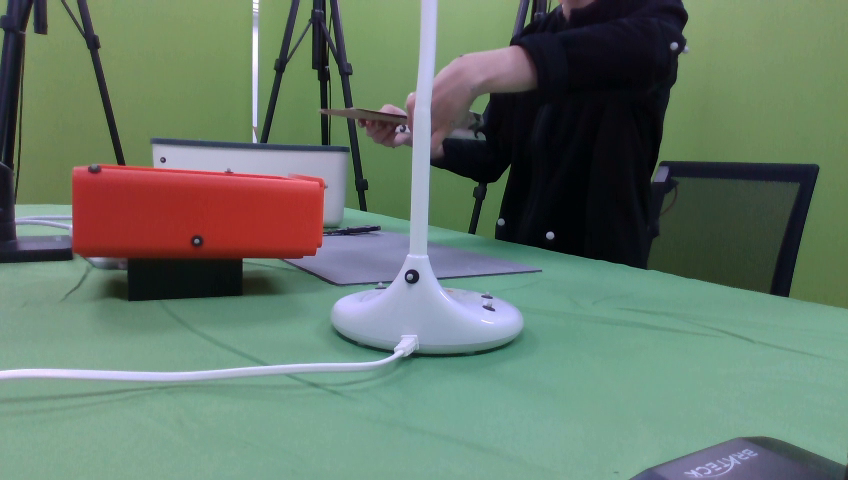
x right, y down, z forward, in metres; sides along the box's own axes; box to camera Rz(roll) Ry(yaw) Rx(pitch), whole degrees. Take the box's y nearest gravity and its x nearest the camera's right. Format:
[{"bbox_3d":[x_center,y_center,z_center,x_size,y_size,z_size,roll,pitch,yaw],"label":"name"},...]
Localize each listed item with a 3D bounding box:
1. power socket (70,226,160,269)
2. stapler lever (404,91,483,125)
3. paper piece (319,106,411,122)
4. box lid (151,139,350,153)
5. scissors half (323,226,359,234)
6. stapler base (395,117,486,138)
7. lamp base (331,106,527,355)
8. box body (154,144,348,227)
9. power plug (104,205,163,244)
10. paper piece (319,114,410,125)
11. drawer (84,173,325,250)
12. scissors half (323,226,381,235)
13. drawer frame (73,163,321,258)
[{"bbox_3d":[-0.409,0.004,0.793,0.072,0.032,0.225,-2,8,-38],"label":"power socket"},{"bbox_3d":[0.025,-0.177,0.811,0.117,0.040,0.027,11,10,34],"label":"stapler lever"},{"bbox_3d":[-0.069,-0.188,0.905,0.139,0.008,0.135,3,9,-34],"label":"paper piece"},{"bbox_3d":[-0.352,-0.191,1.256,0.373,0.015,0.262,0,8,-18],"label":"box lid"},{"bbox_3d":[-0.166,-0.015,1.094,0.040,0.013,0.176,3,7,40],"label":"scissors half"},{"bbox_3d":[0.020,-0.153,0.815,0.130,0.024,0.041,12,10,34],"label":"stapler base"},{"bbox_3d":[0.006,-0.012,0.478,0.161,0.180,0.179,2,10,2],"label":"lamp base"},{"bbox_3d":[-0.357,-0.119,1.264,0.365,0.160,0.253,0,7,-18],"label":"box body"},{"bbox_3d":[-0.390,-0.021,0.815,0.073,0.052,0.035,-1,7,-27],"label":"power plug"},{"bbox_3d":[-0.080,-0.181,0.908,0.136,0.004,0.134,-1,14,-29],"label":"paper piece"},{"bbox_3d":[-0.227,-0.036,0.638,0.213,0.073,0.193,-1,9,-23],"label":"drawer"},{"bbox_3d":[-0.153,-0.015,1.079,0.176,0.013,0.040,-7,2,-33],"label":"scissors half"},{"bbox_3d":[-0.232,-0.034,0.635,0.214,0.082,0.201,1,8,-23],"label":"drawer frame"}]
